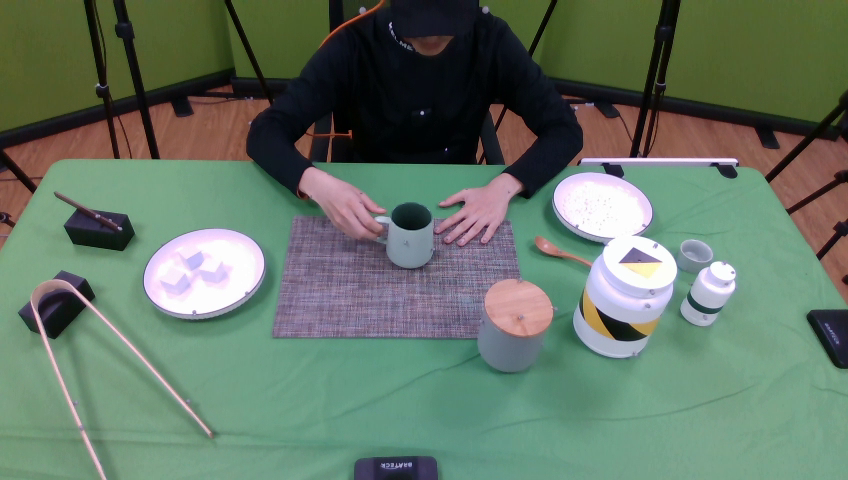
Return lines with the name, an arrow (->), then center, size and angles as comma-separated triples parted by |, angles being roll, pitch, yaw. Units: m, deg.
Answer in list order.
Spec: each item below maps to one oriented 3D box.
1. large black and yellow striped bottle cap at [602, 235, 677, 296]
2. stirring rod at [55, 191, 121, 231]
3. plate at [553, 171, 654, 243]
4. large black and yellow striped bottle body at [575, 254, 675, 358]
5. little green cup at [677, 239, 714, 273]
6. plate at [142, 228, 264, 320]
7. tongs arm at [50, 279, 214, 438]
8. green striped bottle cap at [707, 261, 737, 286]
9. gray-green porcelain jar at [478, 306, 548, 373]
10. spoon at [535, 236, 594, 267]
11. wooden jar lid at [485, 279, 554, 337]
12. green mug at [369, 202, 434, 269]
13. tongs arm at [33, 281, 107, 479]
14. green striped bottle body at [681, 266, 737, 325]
large black and yellow striped bottle cap -> 0.340, 0.037, 0.956 | 0.115, 0.019, 0.114 | 2, 47, -1
stirring rod -> -0.632, -0.055, 1.138 | 0.175, 0.014, 0.006 | 24, 50, 19
plate -> 0.373, -0.066, 1.275 | 0.209, 0.038, 0.208 | 2, 46, -2
large black and yellow striped bottle body -> 0.336, 0.096, 1.014 | 0.131, 0.185, 0.130 | 2, 46, -2
little green cup -> 0.530, 0.033, 1.190 | 0.061, 0.039, 0.061 | 2, 47, -2
plate -> -0.394, 0.064, 1.095 | 0.208, 0.039, 0.206 | 2, 46, -2
tongs arm -> -0.459, 0.178, 0.949 | 0.386, 0.028, 0.028 | 37, 60, 17
green striped bottle cap -> 0.510, 0.057, 1.036 | 0.044, 0.020, 0.044 | 0, 45, 0
gray-green porcelain jar -> 0.144, 0.148, 0.989 | 0.106, 0.127, 0.105 | 2, 50, -2
spoon -> 0.303, 0.040, 1.178 | 0.193, 0.022, 0.041 | 25, 32, 19
wooden jar lid -> 0.147, 0.108, 0.940 | 0.108, 0.021, 0.107 | 4, 47, -4
green mug -> -0.042, -0.010, 1.140 | 0.125, 0.105, 0.092 | 7, 46, 3
tongs arm -> -0.517, 0.214, 0.910 | 0.051, 0.026, 0.383 | -28, 63, -27
green striped bottle body -> 0.507, 0.093, 1.074 | 0.063, 0.120, 0.063 | 2, 46, -2
